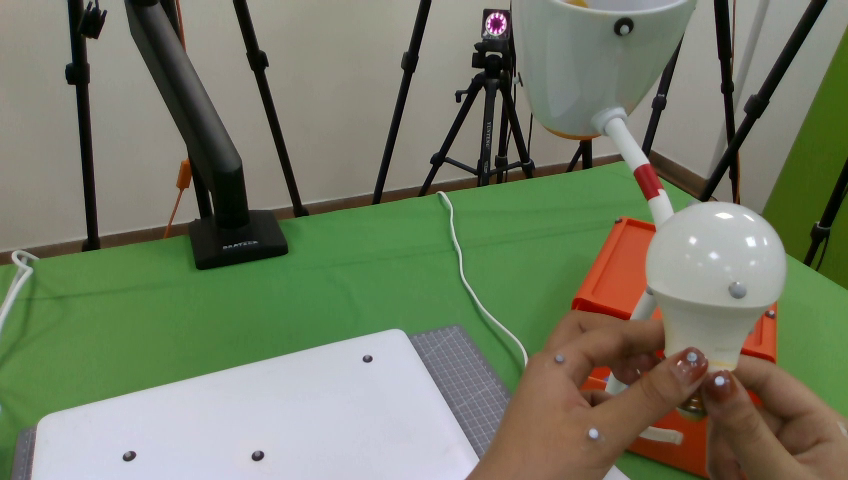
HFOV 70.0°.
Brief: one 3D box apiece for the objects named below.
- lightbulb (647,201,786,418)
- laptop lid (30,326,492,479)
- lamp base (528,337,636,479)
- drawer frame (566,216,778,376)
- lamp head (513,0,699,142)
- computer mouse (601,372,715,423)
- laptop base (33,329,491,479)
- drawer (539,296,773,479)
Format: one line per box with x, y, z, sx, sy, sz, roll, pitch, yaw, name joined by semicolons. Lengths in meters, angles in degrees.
0.136;0.035;0.291;0.059;0.108;0.059;2;13;0;lightbulb
-0.141;0.185;0.522;0.358;0.013;0.239;-10;36;-20;laptop lid
0.135;0.173;0.429;0.161;0.181;0.177;0;29;-7;lamp base
0.293;0.069;0.707;0.200;0.083;0.213;16;33;21;drawer frame
0.111;-0.124;0.394;0.112;0.124;0.111;-2;47;2;lamp head
0.221;0.164;0.580;0.117;0.041;0.062;15;33;13;computer mouse
-0.142;0.194;0.530;0.355;0.023;0.232;-11;37;-21;laptop base
0.243;0.122;0.623;0.193;0.074;0.211;15;33;21;drawer
